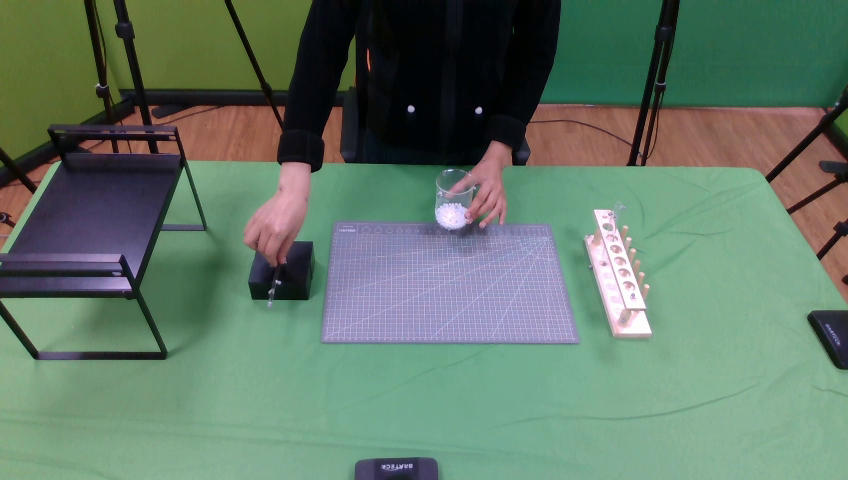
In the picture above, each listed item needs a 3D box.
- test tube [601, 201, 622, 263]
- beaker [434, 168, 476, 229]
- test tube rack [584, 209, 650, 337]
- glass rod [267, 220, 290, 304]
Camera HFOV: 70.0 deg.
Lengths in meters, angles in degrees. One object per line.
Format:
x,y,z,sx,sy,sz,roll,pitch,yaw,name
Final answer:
0.346,-0.012,1.123,0.017,0.151,0.017,-2,45,2,test tube
0.055,-0.078,1.169,0.074,0.101,0.083,-21,50,-22,beaker
0.365,0.056,1.129,0.067,0.085,0.240,1,46,-4,test tube rack
-0.257,0.035,1.078,0.008,0.008,0.198,3,46,-2,glass rod
